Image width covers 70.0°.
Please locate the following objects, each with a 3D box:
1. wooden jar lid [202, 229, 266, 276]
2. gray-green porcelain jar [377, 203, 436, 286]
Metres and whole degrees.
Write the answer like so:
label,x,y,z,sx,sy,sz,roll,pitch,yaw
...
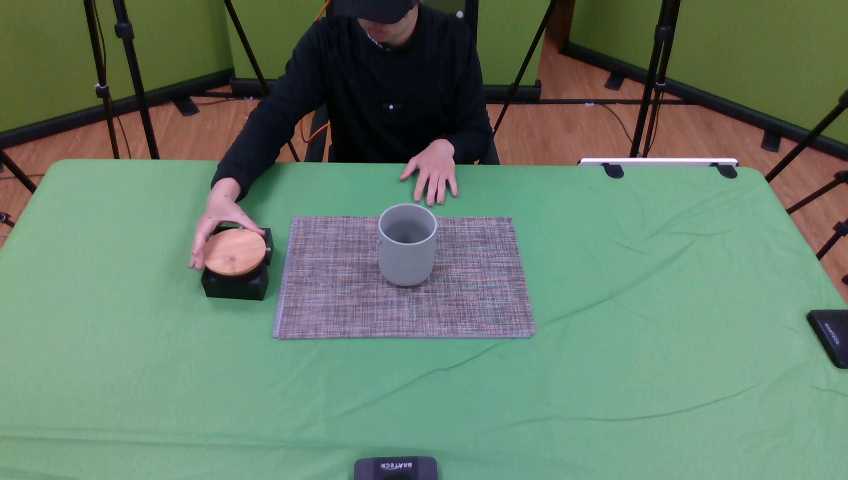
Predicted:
label,x,y,z,sx,sy,sz,roll,pitch,yaw
wooden jar lid,-0.338,0.023,1.083,0.108,0.021,0.107,3,45,-3
gray-green porcelain jar,-0.033,0.014,1.106,0.106,0.127,0.105,2,46,-2
